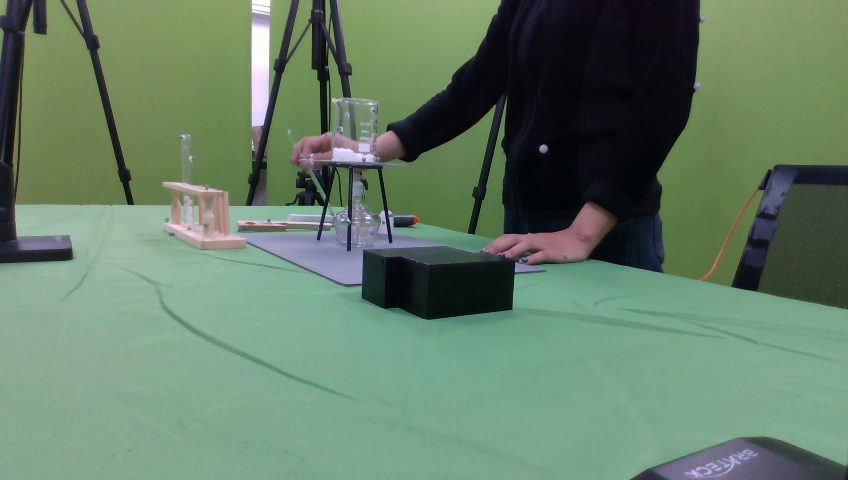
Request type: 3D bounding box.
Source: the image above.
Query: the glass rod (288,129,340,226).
[{"bbox_3d":[-0.197,-0.109,1.090,0.008,0.200,0.008,-21,24,10],"label":"glass rod"}]

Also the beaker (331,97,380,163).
[{"bbox_3d":[-0.111,-0.171,0.950,0.073,0.100,0.084,12,12,42],"label":"beaker"}]

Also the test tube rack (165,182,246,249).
[{"bbox_3d":[-0.360,-0.044,0.982,0.067,0.085,0.241,-3,9,-34],"label":"test tube rack"}]

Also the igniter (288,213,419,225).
[{"bbox_3d":[-0.144,-0.044,1.278,0.278,0.025,0.057,-1,-2,-21],"label":"igniter"}]

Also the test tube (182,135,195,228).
[{"bbox_3d":[-0.382,-0.095,0.983,0.017,0.150,0.017,-1,2,0],"label":"test tube"}]

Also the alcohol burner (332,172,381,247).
[{"bbox_3d":[-0.107,-0.048,0.961,0.078,0.119,0.078,1,9,0],"label":"alcohol burner"}]

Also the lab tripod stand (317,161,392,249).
[{"bbox_3d":[-0.111,-0.059,0.964,0.148,0.131,0.148,4,8,0],"label":"lab tripod stand"}]

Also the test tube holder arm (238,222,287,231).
[{"bbox_3d":[-0.296,-0.024,1.112,0.088,0.015,0.010,-1,41,-32],"label":"test tube holder arm"}]

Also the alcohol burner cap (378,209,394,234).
[{"bbox_3d":[-0.072,-0.035,1.145,0.034,0.048,0.034,2,7,0],"label":"alcohol burner cap"}]

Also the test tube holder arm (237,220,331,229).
[{"bbox_3d":[-0.260,-0.028,1.140,0.179,0.015,0.013,-1,41,-32],"label":"test tube holder arm"}]

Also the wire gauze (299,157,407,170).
[{"bbox_3d":[-0.112,-0.124,0.959,0.121,0.011,0.126,13,11,40],"label":"wire gauze"}]
